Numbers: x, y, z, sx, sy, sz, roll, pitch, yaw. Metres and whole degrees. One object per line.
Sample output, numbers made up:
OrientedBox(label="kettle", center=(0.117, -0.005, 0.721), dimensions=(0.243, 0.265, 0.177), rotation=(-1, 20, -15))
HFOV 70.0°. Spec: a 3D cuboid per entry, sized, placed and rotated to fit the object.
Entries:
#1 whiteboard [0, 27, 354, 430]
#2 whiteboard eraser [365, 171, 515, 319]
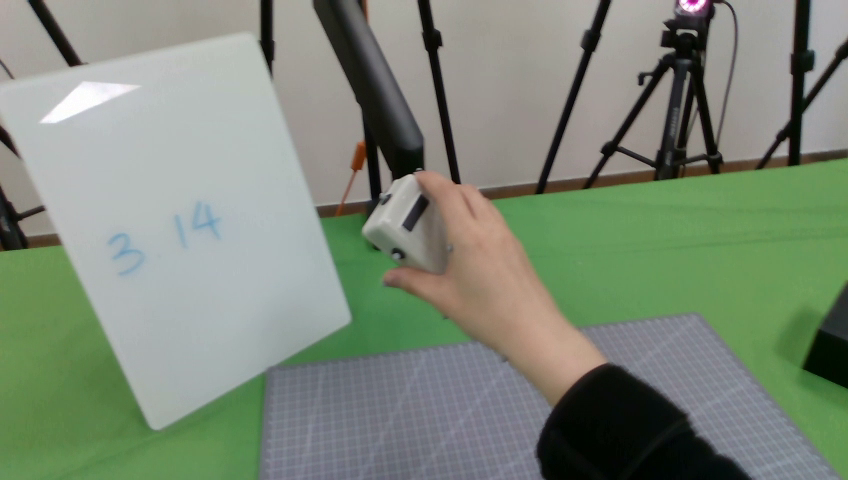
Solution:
OrientedBox(label="whiteboard", center=(-0.234, -0.021, 0.592), dimensions=(0.217, 0.307, 0.143), rotation=(-27, 22, -33))
OrientedBox(label="whiteboard eraser", center=(0.012, 0.005, 0.445), dimensions=(0.042, 0.113, 0.055), rotation=(-26, 30, 52))
